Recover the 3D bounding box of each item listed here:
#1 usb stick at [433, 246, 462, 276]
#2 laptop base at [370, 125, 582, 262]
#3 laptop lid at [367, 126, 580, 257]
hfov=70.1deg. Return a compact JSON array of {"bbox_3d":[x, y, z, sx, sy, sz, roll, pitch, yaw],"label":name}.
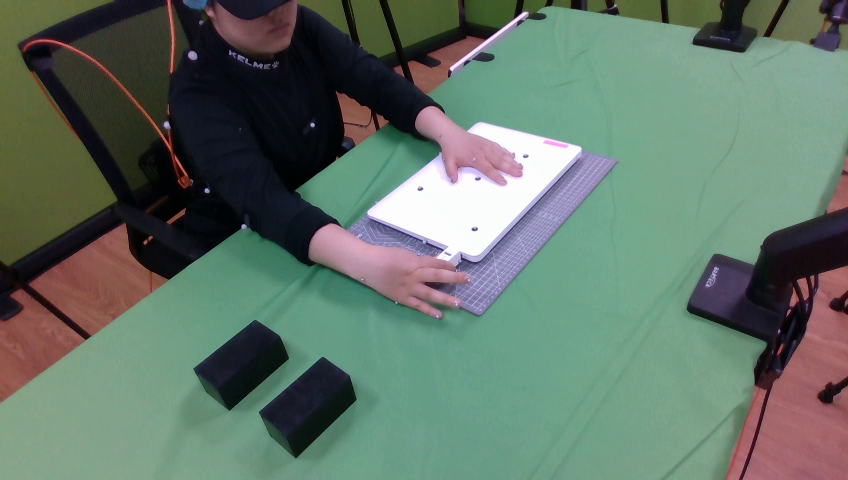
[{"bbox_3d":[0.039,0.028,0.911,0.021,0.027,0.059,31,46,29],"label":"usb stick"},{"bbox_3d":[0.098,-0.096,1.071,0.233,0.023,0.355,20,47,33],"label":"laptop base"},{"bbox_3d":[0.095,-0.104,1.067,0.239,0.013,0.358,22,48,34],"label":"laptop lid"}]
